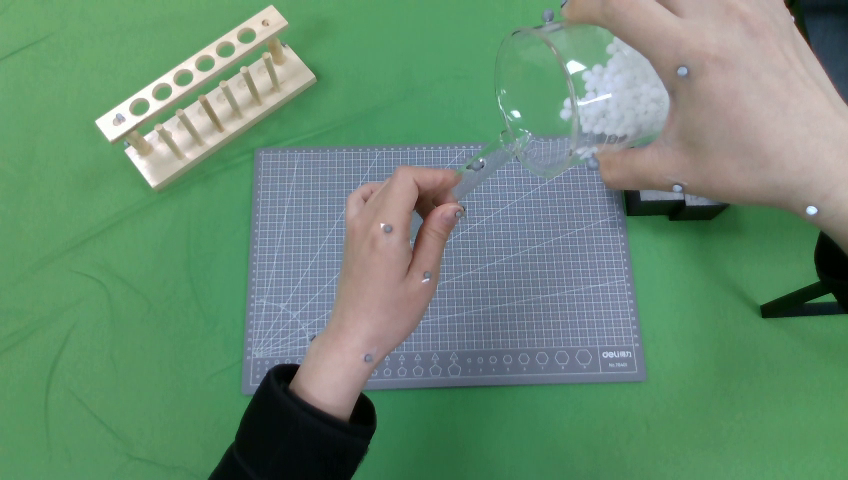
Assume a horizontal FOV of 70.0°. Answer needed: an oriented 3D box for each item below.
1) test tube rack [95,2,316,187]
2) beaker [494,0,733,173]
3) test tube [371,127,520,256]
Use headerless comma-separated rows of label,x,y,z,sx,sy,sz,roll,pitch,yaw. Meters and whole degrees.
test tube rack,-0.253,-0.173,0.729,0.242,0.085,0.066,-38,77,-11
beaker,0.096,-0.082,0.313,0.100,0.084,0.073,-19,78,-16
test tube,0.007,-0.025,0.389,0.017,0.150,0.017,19,54,-29
